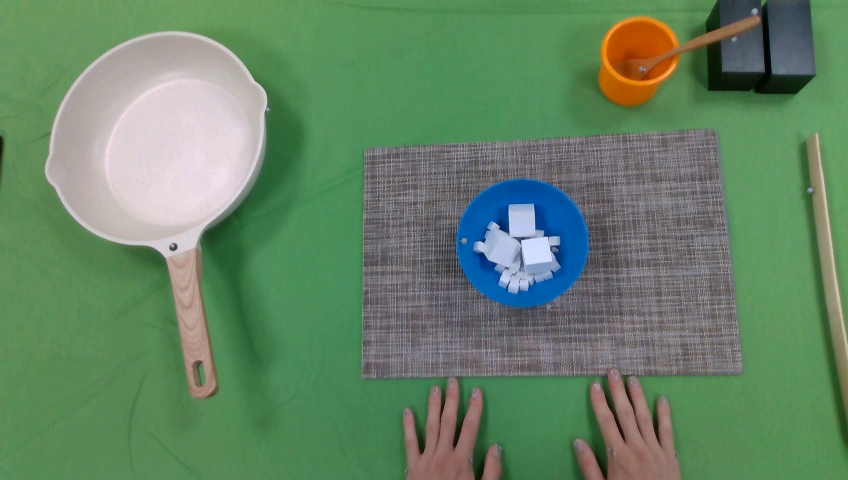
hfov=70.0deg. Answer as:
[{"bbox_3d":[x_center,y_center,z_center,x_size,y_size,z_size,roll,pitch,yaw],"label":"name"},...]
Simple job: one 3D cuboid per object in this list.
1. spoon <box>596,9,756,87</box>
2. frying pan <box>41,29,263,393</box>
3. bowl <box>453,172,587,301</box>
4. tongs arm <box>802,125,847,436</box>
[{"bbox_3d":[0.289,-0.226,0.716,0.022,0.193,0.041,5,78,-37],"label":"spoon"},{"bbox_3d":[-0.319,-0.042,0.769,0.307,0.103,0.484,-18,69,4],"label":"frying pan"},{"bbox_3d":[0.112,0.002,0.721,0.151,0.077,0.150,-1,78,6],"label":"bowl"},{"bbox_3d":[0.476,0.051,0.701,0.028,0.028,0.385,-3,78,5],"label":"tongs arm"}]
